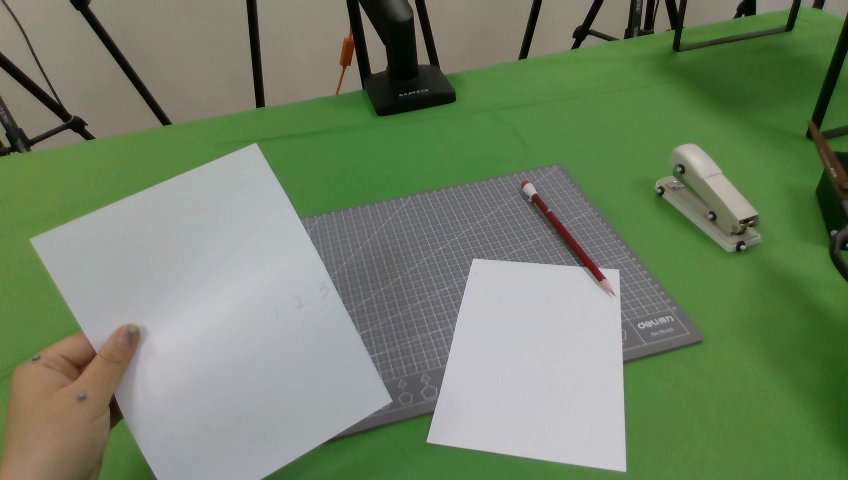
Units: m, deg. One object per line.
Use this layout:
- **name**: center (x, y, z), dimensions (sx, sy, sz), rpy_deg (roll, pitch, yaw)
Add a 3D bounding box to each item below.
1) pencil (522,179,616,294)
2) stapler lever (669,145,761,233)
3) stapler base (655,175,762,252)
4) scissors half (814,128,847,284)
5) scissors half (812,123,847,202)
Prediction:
- **pencil**: center (0.146, -0.008, 0.623), dimensions (0.012, 0.012, 0.192), rpy_deg (-15, 42, -11)
- **stapler lever**: center (0.294, -0.056, 0.617), dimensions (0.027, 0.040, 0.116), rpy_deg (-17, 42, -11)
- **stapler base**: center (0.295, -0.037, 0.634), dimensions (0.041, 0.025, 0.129), rpy_deg (-17, 42, -11)
- **scissors half**: center (0.350, -0.031, 0.509), dimensions (0.040, 0.013, 0.174), rpy_deg (0, 59, 10)
- **scissors half**: center (0.370, -0.033, 0.507), dimensions (0.040, 0.013, 0.173), rpy_deg (-12, 59, -3)
